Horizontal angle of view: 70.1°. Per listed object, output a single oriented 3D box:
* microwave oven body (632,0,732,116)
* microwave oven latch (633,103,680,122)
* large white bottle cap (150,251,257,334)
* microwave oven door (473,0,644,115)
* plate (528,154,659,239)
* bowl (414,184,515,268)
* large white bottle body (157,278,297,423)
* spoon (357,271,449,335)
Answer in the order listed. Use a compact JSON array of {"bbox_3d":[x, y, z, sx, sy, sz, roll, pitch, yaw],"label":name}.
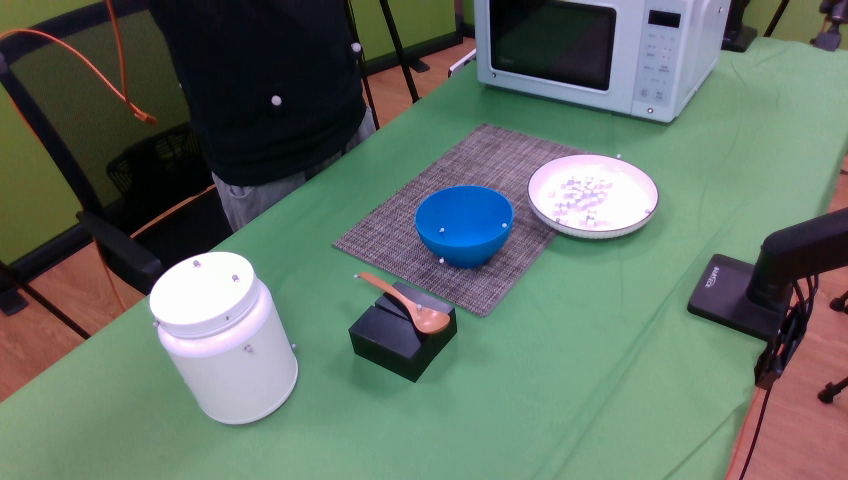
[{"bbox_3d":[0.377,-0.462,1.267,0.438,0.261,0.327,21,48,30],"label":"microwave oven body"},{"bbox_3d":[0.443,-0.249,1.157,0.078,0.029,0.030,21,48,30],"label":"microwave oven latch"},{"bbox_3d":[-0.247,0.056,0.680,0.115,0.018,0.114,-4,41,4],"label":"large white bottle cap"},{"bbox_3d":[0.257,-0.396,1.199,0.353,0.245,0.039,21,48,29],"label":"microwave oven door"},{"bbox_3d":[0.274,-0.069,0.993,0.209,0.038,0.208,-2,42,2],"label":"plate"},{"bbox_3d":[0.063,-0.010,0.922,0.151,0.077,0.150,-4,40,4],"label":"bowl"},{"bbox_3d":[-0.239,0.120,0.736,0.130,0.185,0.130,-4,41,4],"label":"large white bottle body"},{"bbox_3d":[-0.034,0.078,0.812,0.042,0.022,0.192,-35,42,-23],"label":"spoon"}]
